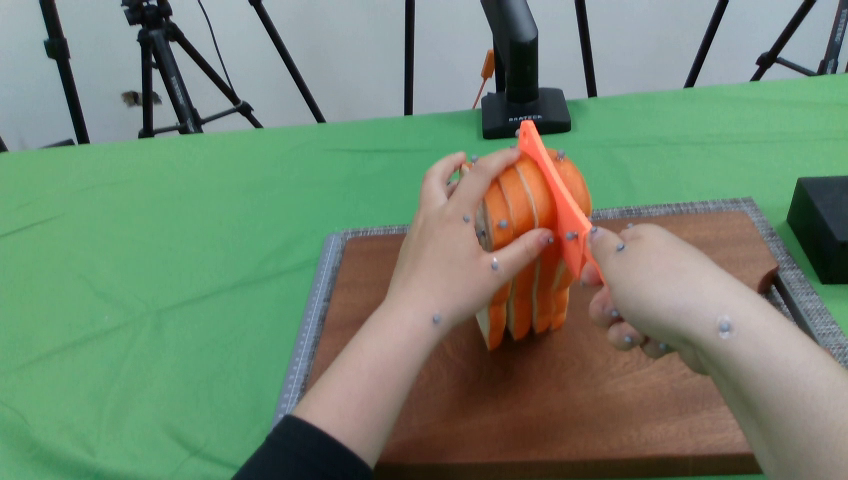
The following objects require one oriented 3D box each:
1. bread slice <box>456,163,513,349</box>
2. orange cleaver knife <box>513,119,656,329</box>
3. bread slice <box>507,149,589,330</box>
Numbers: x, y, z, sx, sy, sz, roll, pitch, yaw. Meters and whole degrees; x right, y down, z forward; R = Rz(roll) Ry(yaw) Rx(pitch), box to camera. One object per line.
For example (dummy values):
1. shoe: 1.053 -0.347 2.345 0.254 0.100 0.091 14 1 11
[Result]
1. bread slice: 0.047 0.005 0.497 0.018 0.135 0.106 -12 35 -9
2. orange cleaver knife: 0.102 -0.009 0.429 0.012 0.078 0.209 -14 45 -7
3. bread slice: 0.099 -0.006 0.502 0.019 0.132 0.103 -6 38 -17
